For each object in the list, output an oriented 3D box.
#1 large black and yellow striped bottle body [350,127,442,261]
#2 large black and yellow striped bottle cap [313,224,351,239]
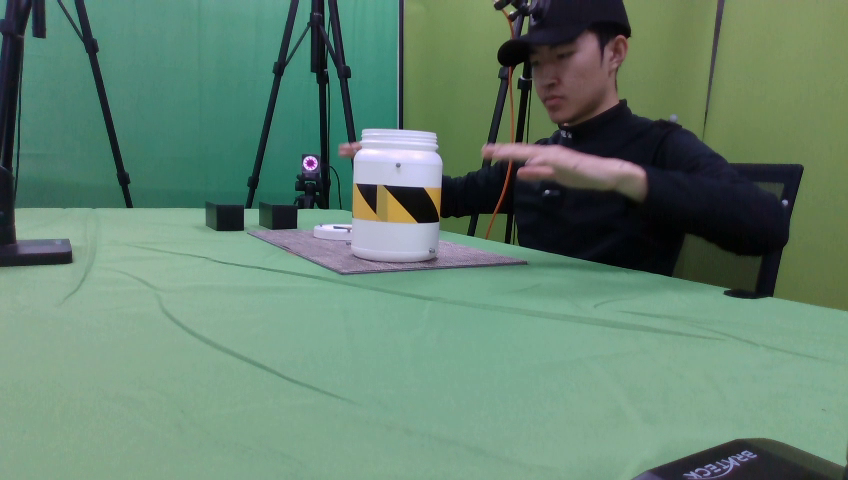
[{"bbox_3d":[-0.040,-0.068,0.881,0.131,0.184,0.130,2,7,0],"label":"large black and yellow striped bottle body"},{"bbox_3d":[-0.145,-0.016,1.108,0.115,0.019,0.115,3,7,0],"label":"large black and yellow striped bottle cap"}]
